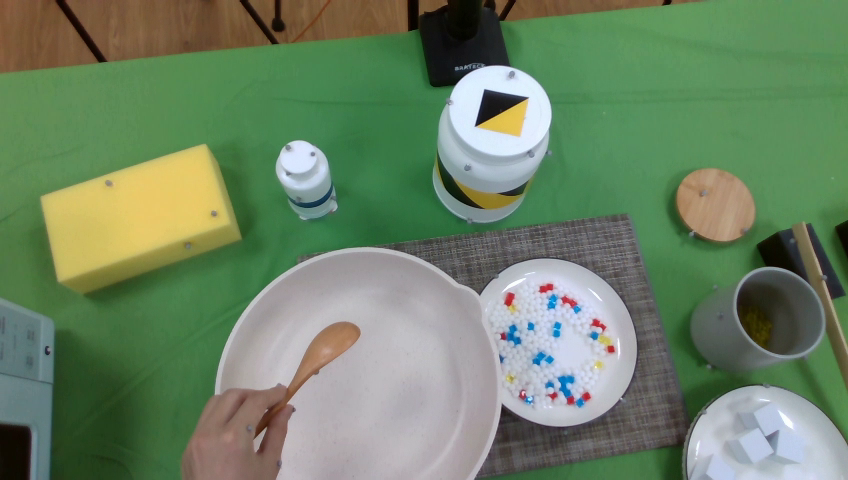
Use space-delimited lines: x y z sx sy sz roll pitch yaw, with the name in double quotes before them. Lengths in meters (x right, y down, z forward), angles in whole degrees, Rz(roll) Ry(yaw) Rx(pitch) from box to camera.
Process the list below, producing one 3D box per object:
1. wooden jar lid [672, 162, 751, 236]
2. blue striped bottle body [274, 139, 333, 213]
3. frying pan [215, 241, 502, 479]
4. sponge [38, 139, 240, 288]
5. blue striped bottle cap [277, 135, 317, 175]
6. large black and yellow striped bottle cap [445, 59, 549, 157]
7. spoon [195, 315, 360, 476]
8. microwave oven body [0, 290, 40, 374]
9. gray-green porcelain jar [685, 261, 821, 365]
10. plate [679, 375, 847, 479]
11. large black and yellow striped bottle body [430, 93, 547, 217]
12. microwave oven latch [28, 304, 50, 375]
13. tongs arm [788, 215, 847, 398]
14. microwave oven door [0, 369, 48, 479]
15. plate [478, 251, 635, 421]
"wooden jar lid" 0.392 -0.054 0.832 0.108 0.021 0.108 1 73 -3
"blue striped bottle body" -0.150 -0.084 0.758 0.063 0.121 0.062 1 71 -3
"frying pan" -0.008 0.222 0.600 0.307 0.103 0.483 -34 66 -8
"sponge" -0.353 -0.034 0.761 0.207 0.061 0.117 -21 74 -10
"blue striped bottle cap" -0.148 -0.100 0.709 0.044 0.021 0.044 0 69 -1
"large black and yellow striped bottle cap" 0.081 -0.147 0.670 0.115 0.019 0.114 1 73 -3
"spoon" -0.132 0.141 0.551 0.193 0.022 0.041 -48 50 -8
"microwave oven body" -0.568 0.269 0.541 0.326 0.261 0.438 -7 73 -6
"gray-green porcelain jar" 0.385 0.092 0.728 0.106 0.127 0.105 1 71 -3
"plate" 0.402 0.267 0.719 0.208 0.039 0.206 1 72 -3
"large black and yellow striped bottle body" 0.077 -0.119 0.750 0.131 0.185 0.130 1 71 -3
"microwave oven latch" -0.451 0.116 0.700 0.030 0.029 0.078 -6 73 -6
"tongs arm" 0.526 0.151 0.734 0.051 0.026 0.383 -12 83 -9
"microwave oven door" -0.418 0.289 0.537 0.039 0.245 0.353 -8 72 -6
"plate" 0.152 0.116 0.750 0.209 0.038 0.208 1 72 -2
